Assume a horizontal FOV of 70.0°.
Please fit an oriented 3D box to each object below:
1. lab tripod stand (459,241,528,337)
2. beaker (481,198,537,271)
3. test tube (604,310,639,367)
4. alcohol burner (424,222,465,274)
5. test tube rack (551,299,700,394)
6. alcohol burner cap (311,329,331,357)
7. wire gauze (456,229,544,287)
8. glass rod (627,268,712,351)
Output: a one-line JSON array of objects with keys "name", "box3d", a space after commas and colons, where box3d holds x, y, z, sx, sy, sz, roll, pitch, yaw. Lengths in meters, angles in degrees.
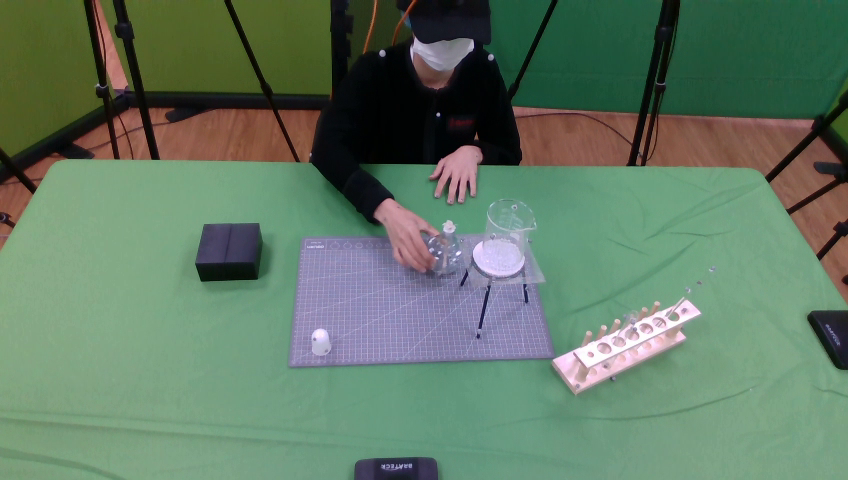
[{"name": "lab tripod stand", "box3d": [0.122, 0.075, 1.054, 0.148, 0.132, 0.147, 3, 44, -3]}, {"name": "beaker", "box3d": [0.133, -0.005, 0.974, 0.084, 0.101, 0.074, 23, 49, 16]}, {"name": "test tube", "box3d": [0.310, 0.158, 0.957, 0.017, 0.151, 0.017, 1, 49, -1]}, {"name": "alcohol burner", "box3d": [0.040, 0.008, 1.124, 0.078, 0.119, 0.077, 4, 48, -4]}, {"name": "test tube rack", "box3d": [0.339, 0.166, 1.021, 0.242, 0.085, 0.066, -19, 50, -21]}, {"name": "alcohol burner cap", "box3d": [-0.173, 0.168, 1.004, 0.034, 0.048, 0.033, 2, 46, -2]}, {"name": "wire gauze", "box3d": [0.125, 0.030, 1.008, 0.125, 0.011, 0.120, -3, 48, -11]}, {"name": "glass rod", "box3d": [0.399, 0.117, 0.995, 0.008, 0.200, 0.008, 26, 29, -16]}]
